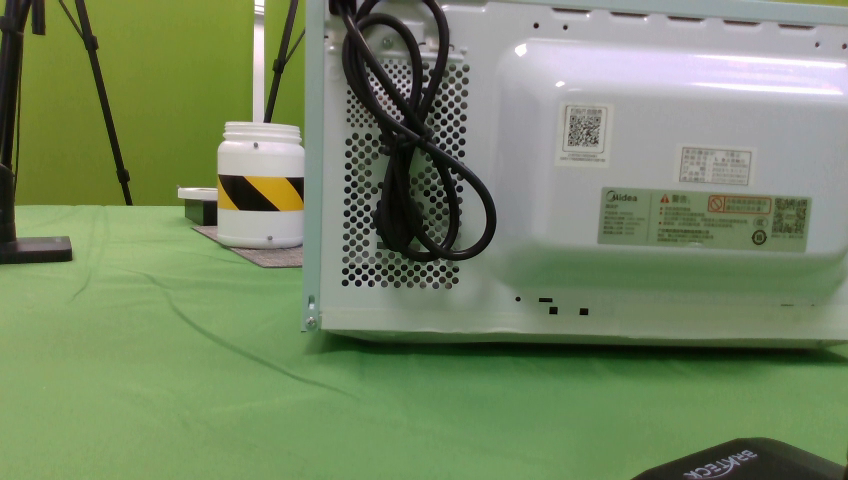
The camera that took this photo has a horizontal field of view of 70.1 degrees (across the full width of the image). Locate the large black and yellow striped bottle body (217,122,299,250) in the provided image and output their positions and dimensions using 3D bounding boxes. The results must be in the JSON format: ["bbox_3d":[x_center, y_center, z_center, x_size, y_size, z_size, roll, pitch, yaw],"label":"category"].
[{"bbox_3d":[-0.250,-0.084,0.931,0.131,0.184,0.130,2,7,0],"label":"large black and yellow striped bottle body"}]

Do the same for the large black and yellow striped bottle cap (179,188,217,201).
[{"bbox_3d":[-0.434,-0.093,1.226,0.115,0.019,0.115,3,9,0],"label":"large black and yellow striped bottle cap"}]

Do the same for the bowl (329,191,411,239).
[{"bbox_3d":[-0.100,-0.045,1.104,0.151,0.077,0.151,3,8,0],"label":"bowl"}]

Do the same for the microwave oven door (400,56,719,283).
[{"bbox_3d":[0.155,-0.077,0.698,0.356,0.243,0.039,2,8,-5],"label":"microwave oven door"}]

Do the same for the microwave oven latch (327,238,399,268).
[{"bbox_3d":[-0.069,0.015,0.694,0.079,0.029,0.030,3,7,-3],"label":"microwave oven latch"}]

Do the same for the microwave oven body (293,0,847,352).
[{"bbox_3d":[0.122,-0.055,0.550,0.442,0.260,0.325,3,7,-5],"label":"microwave oven body"}]
